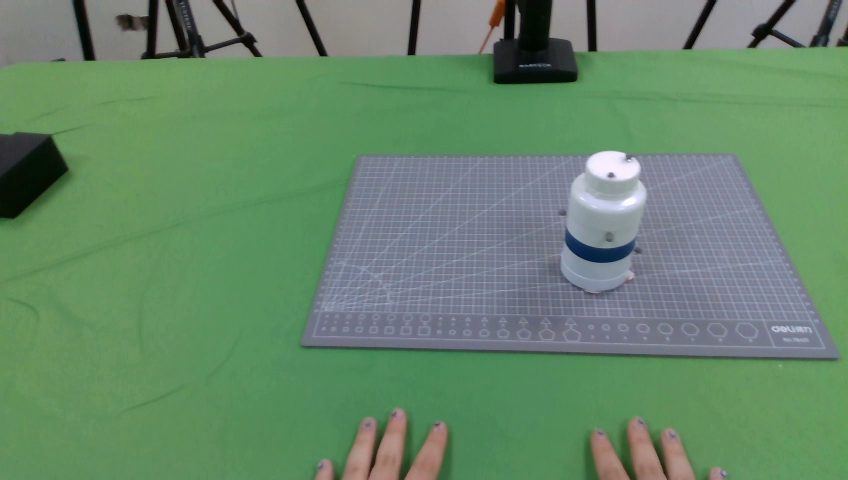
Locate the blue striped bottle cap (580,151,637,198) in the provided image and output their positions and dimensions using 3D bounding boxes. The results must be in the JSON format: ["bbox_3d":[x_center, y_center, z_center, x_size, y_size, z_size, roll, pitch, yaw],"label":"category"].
[{"bbox_3d":[0.154,-0.055,0.505,0.044,0.021,0.044,-1,42,1],"label":"blue striped bottle cap"}]

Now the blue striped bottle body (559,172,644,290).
[{"bbox_3d":[0.157,-0.017,0.539,0.063,0.122,0.062,-2,42,2],"label":"blue striped bottle body"}]
